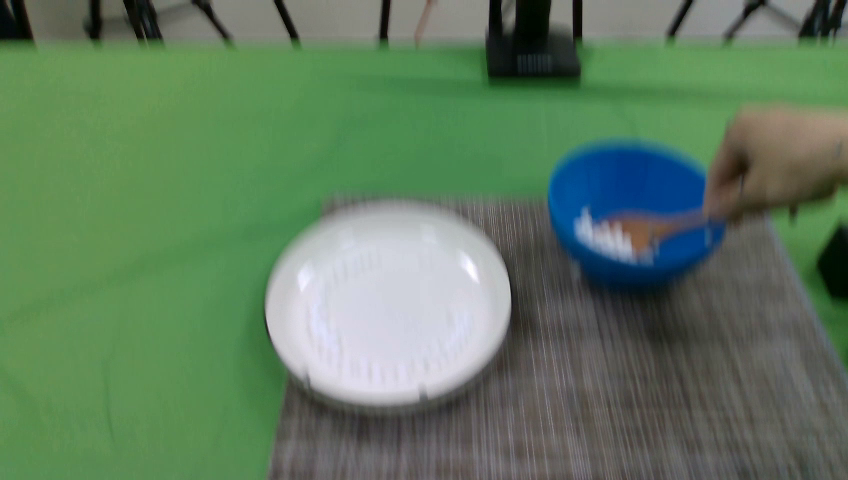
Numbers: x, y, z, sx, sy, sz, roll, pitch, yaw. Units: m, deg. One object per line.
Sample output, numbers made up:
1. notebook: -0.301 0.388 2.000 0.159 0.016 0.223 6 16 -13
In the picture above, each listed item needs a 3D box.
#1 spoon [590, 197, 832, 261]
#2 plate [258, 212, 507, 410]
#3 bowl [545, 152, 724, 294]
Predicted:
1. spoon: 0.221 -0.009 0.494 0.022 0.193 0.041 27 64 -31
2. plate: -0.034 0.058 0.521 0.208 0.039 0.205 0 45 1
3. bowl: 0.181 -0.004 0.550 0.151 0.077 0.150 0 45 1
